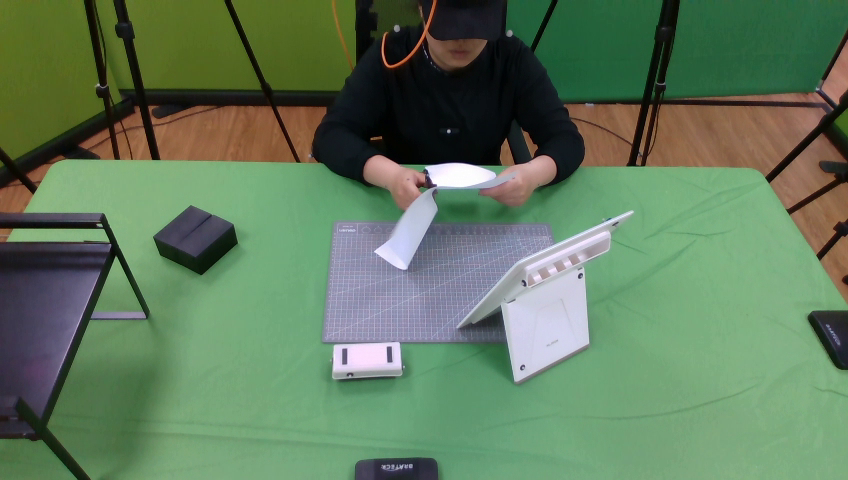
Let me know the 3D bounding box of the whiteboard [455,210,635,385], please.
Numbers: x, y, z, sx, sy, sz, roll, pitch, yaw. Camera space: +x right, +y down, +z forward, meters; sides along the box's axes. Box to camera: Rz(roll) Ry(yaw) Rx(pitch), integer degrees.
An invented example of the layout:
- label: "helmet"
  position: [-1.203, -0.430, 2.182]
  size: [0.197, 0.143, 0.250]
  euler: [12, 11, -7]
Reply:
- label: "whiteboard"
  position: [0.211, 0.111, 0.955]
  size: [0.217, 0.306, 0.143]
  euler: [-21, 71, -23]

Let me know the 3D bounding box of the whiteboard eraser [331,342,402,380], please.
- label: "whiteboard eraser"
  position: [-0.094, 0.198, 0.986]
  size: [0.113, 0.042, 0.055]
  euler: [-2, 44, -6]

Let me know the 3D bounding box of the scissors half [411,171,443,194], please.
- label: "scissors half"
  position: [0.006, -0.106, 1.148]
  size: [0.013, 0.040, 0.174]
  euler: [-18, 17, -15]

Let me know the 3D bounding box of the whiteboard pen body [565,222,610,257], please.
- label: "whiteboard pen body"
  position: [0.335, -0.004, 1.228]
  size: [0.141, 0.017, 0.017]
  euler: [-33, 56, -29]

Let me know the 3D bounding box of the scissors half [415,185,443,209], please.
- label: "scissors half"
  position: [0.012, -0.086, 1.151]
  size: [0.013, 0.175, 0.040]
  euler: [-23, 90, -14]

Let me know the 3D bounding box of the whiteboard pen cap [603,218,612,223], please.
- label: "whiteboard pen cap"
  position: [0.379, -0.031, 1.255]
  size: [0.033, 0.018, 0.018]
  euler: [-33, 57, -29]
